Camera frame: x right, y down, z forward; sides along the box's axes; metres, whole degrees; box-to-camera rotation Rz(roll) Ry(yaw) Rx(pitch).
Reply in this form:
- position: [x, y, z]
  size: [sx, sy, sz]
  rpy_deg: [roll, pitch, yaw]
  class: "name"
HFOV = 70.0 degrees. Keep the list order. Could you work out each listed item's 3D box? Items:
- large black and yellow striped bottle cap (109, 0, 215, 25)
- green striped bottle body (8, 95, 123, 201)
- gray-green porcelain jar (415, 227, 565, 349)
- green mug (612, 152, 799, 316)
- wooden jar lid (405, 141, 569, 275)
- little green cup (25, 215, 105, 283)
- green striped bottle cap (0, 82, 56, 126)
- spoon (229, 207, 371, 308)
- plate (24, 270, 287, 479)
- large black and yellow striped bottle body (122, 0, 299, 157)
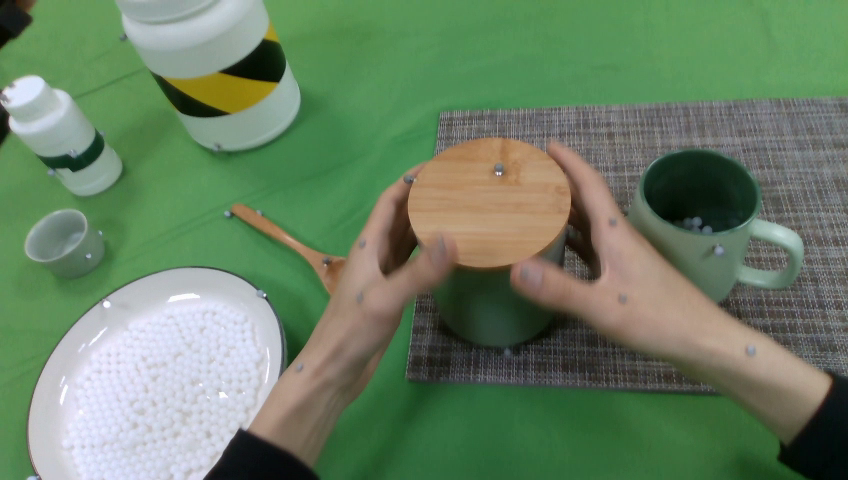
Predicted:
- position: [-0.230, -0.237, 0.549]
  size: [0.115, 0.019, 0.114]
  rpy_deg: [-5, 53, 7]
  class: "large black and yellow striped bottle cap"
- position: [-0.370, -0.099, 0.620]
  size: [0.063, 0.120, 0.062]
  rpy_deg: [-5, 54, 7]
  class: "green striped bottle body"
- position: [0.052, 0.015, 0.457]
  size: [0.106, 0.128, 0.105]
  rpy_deg: [-5, 54, 7]
  class: "gray-green porcelain jar"
- position: [0.209, 0.003, 0.452]
  size: [0.124, 0.106, 0.092]
  rpy_deg: [20, 60, 22]
  class: "green mug"
- position: [0.042, -0.021, 0.407]
  size: [0.108, 0.021, 0.107]
  rpy_deg: [-5, 57, 8]
  class: "wooden jar lid"
- position: [-0.346, 0.010, 0.589]
  size: [0.061, 0.039, 0.061]
  rpy_deg: [-5, 53, 7]
  class: "little green cup"
- position: [-0.378, -0.130, 0.579]
  size: [0.044, 0.020, 0.044]
  rpy_deg: [-3, 56, 5]
  class: "green striped bottle cap"
- position: [-0.121, 0.008, 0.561]
  size: [0.192, 0.022, 0.041]
  rpy_deg: [30, 83, 27]
  class: "spoon"
- position: [-0.208, 0.120, 0.489]
  size: [0.209, 0.038, 0.207]
  rpy_deg: [-4, 54, 7]
  class: "plate"
- position: [-0.217, -0.190, 0.618]
  size: [0.130, 0.186, 0.129]
  rpy_deg: [-5, 55, 7]
  class: "large black and yellow striped bottle body"
